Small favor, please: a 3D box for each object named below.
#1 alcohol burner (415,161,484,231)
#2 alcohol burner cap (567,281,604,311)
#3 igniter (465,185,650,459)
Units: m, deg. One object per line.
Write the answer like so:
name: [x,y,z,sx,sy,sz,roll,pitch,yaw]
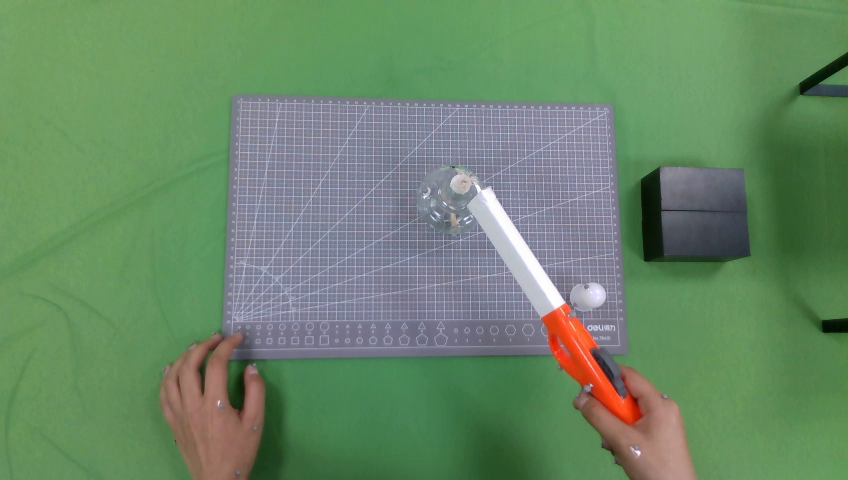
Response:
alcohol burner: [0.030,-0.050,0.643,0.078,0.119,0.077,1,81,-7]
alcohol burner cap: [0.182,0.061,0.676,0.034,0.048,0.033,1,80,-4]
igniter: [0.120,0.072,0.550,0.025,0.057,0.275,-25,79,-34]
